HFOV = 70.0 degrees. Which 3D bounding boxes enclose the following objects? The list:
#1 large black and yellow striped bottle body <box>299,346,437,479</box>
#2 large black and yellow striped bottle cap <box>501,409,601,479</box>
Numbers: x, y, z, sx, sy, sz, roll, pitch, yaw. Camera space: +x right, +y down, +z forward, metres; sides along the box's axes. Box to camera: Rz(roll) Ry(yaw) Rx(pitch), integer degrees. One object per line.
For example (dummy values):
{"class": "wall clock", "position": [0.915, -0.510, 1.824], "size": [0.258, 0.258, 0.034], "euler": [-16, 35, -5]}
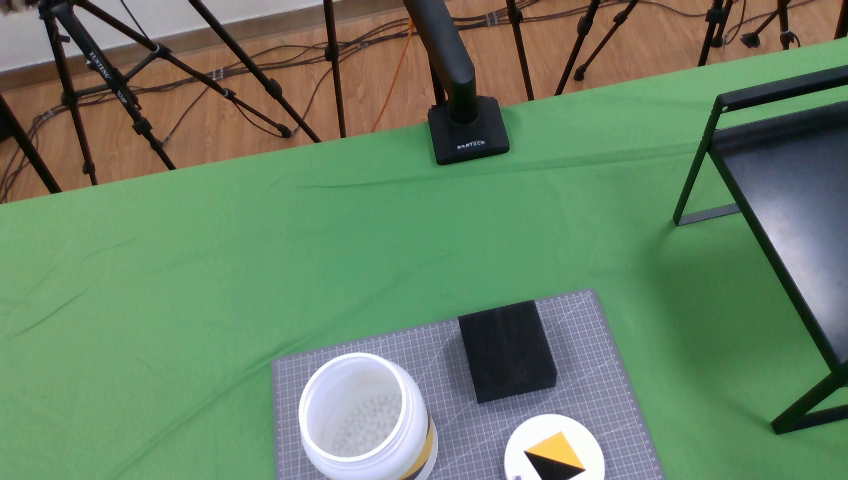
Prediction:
{"class": "large black and yellow striped bottle body", "position": [-0.060, 0.201, 0.670], "size": [0.130, 0.186, 0.129], "euler": [-3, 59, 6]}
{"class": "large black and yellow striped bottle cap", "position": [0.148, 0.255, 0.707], "size": [0.115, 0.019, 0.114], "euler": [-3, 58, 5]}
